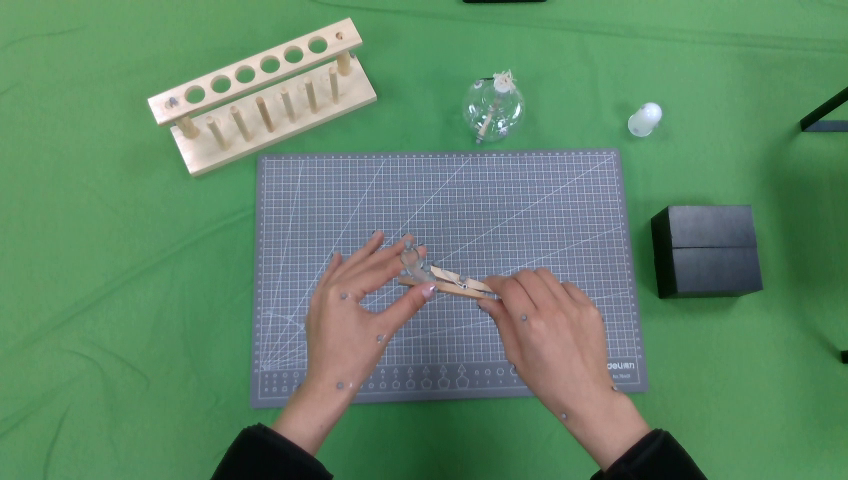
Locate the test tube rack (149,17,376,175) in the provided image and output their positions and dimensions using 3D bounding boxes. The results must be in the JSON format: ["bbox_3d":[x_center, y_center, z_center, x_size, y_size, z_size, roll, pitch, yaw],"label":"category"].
[{"bbox_3d":[-0.181,-0.168,0.712,0.242,0.085,0.066,-25,78,-9],"label":"test tube rack"}]

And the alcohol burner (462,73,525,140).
[{"bbox_3d":[0.085,-0.166,0.714,0.078,0.119,0.077,1,77,-4],"label":"alcohol burner"}]

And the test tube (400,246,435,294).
[{"bbox_3d":[-0.003,0.030,0.533,0.017,0.151,0.017,-2,76,7],"label":"test tube"}]

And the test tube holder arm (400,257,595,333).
[{"bbox_3d":[0.063,0.048,0.533,0.178,0.015,0.013,18,79,7],"label":"test tube holder arm"}]

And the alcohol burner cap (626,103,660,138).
[{"bbox_3d":[0.277,-0.152,0.759,0.034,0.048,0.033,1,75,-2],"label":"alcohol burner cap"}]

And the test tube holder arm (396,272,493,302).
[{"bbox_3d":[0.019,0.042,0.537,0.088,0.015,0.010,10,77,5],"label":"test tube holder arm"}]
